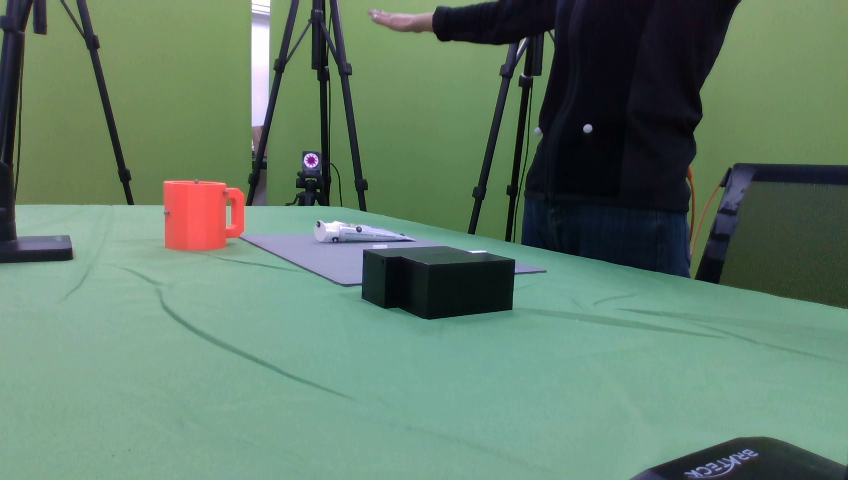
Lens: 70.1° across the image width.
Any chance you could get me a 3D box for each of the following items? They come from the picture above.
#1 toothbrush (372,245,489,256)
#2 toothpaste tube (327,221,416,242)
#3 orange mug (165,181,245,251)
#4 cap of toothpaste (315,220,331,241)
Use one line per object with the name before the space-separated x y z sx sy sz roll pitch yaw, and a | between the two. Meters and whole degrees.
toothbrush | 0.012 0.016 0.874 0.183 0.016 0.014 1 -7 -22
toothpaste tube | -0.095 -0.012 1.026 0.166 0.034 0.055 2 13 -33
orange mug | -0.326 -0.040 0.911 0.083 0.101 0.127 8 14 37
cap of toothpaste | -0.164 -0.016 0.982 0.011 0.037 0.037 -8 12 -43
